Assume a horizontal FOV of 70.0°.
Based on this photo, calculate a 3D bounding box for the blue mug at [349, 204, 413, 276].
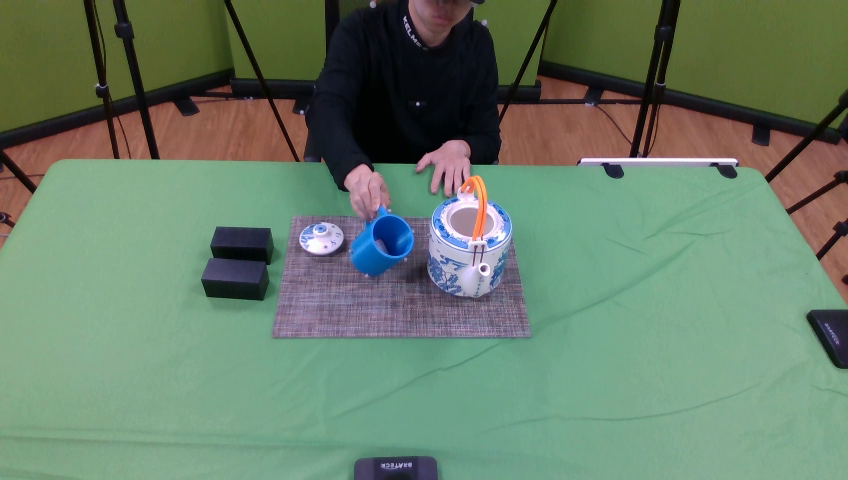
[{"bbox_3d":[-0.082,-0.005,1.079,0.082,0.106,0.116,-5,72,-29],"label":"blue mug"}]

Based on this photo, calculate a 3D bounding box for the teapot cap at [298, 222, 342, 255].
[{"bbox_3d":[-0.201,-0.008,1.171,0.085,0.044,0.084,1,48,-1],"label":"teapot cap"}]

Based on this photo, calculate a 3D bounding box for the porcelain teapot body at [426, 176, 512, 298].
[{"bbox_3d":[0.085,0.009,1.051,0.145,0.226,0.204,-4,47,-9],"label":"porcelain teapot body"}]
